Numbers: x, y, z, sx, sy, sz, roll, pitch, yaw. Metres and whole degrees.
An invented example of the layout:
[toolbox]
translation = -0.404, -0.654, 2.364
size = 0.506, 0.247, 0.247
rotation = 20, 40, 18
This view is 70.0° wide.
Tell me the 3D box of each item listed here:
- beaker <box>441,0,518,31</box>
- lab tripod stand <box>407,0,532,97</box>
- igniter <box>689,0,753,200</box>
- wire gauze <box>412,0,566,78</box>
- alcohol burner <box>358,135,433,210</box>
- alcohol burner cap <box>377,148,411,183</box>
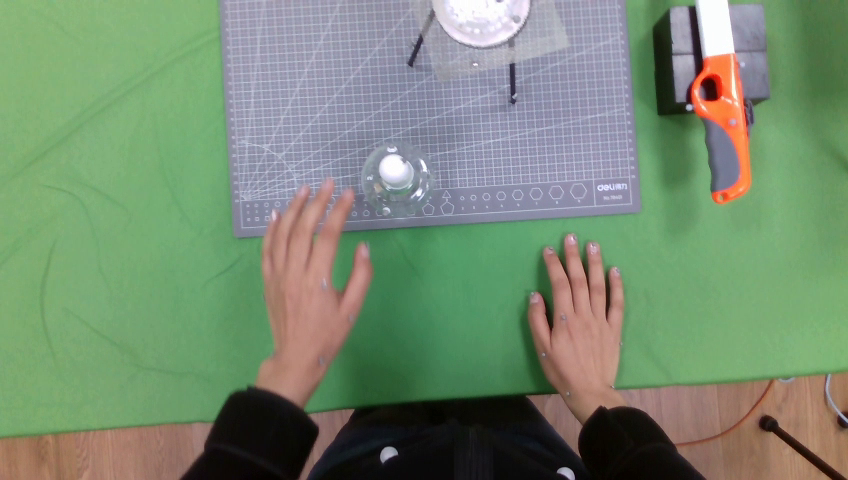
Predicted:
[beaker]
translation = 0.046, -0.222, 0.494
size = 0.084, 0.100, 0.074
rotation = -5, 87, -1
[lab tripod stand]
translation = 0.052, -0.221, 0.608
size = 0.148, 0.131, 0.148
rotation = 0, 86, 1
[igniter]
translation = 0.299, -0.179, 0.620
size = 0.057, 0.025, 0.276
rotation = -5, 88, 10
[wire gauze]
translation = 0.053, -0.216, 0.542
size = 0.125, 0.011, 0.121
rotation = -17, 89, -3
[alcohol burner]
translation = -0.029, -0.070, 0.612
size = 0.078, 0.119, 0.078
rotation = 0, 90, -1
[alcohol burner cap]
translation = -0.030, -0.072, 0.577
size = 0.034, 0.048, 0.034
rotation = 0, 90, 2
